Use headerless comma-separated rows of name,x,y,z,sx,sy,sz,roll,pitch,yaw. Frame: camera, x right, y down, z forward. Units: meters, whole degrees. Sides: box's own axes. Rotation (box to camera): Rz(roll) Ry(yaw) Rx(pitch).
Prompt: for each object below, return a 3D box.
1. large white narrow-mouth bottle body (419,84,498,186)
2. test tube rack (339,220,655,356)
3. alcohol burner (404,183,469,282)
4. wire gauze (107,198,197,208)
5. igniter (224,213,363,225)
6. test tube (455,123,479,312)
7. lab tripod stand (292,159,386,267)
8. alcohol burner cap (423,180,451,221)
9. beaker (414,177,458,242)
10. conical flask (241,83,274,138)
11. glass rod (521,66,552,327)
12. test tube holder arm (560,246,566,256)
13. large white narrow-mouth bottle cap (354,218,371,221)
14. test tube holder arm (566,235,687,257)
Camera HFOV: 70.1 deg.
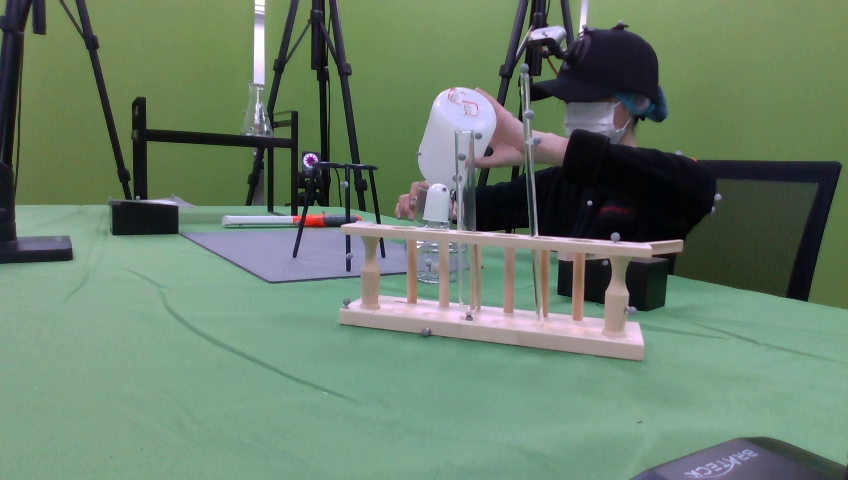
large white narrow-mouth bottle body,0.045,-0.145,0.959,0.102,0.101,0.194,0,-32,-14
test tube rack,0.056,0.032,0.495,0.242,0.085,0.067,4,7,15
alcohol burner,0.015,-0.011,0.715,0.078,0.119,0.078,0,7,0
wire gauze,-0.462,-0.064,1.023,0.126,0.011,0.121,-2,7,-32
igniter,-0.255,-0.041,1.210,0.278,0.025,0.057,-2,-2,-31
test tube,0.034,-0.016,0.476,0.017,0.150,0.017,-2,10,1
lab tripod stand,-0.105,-0.039,0.798,0.148,0.131,0.148,2,5,0
alcohol burner cap,0.017,-0.047,0.711,0.034,0.048,0.034,8,5,0
beaker,0.020,-0.052,1.059,0.074,0.100,0.083,-11,25,-36
conical flask,-0.384,-0.297,1.393,0.075,0.122,0.075,2,7,0
glass rod,0.085,-0.028,0.454,0.008,0.199,0.008,-7,10,2
test tube holder arm,0.173,0.007,0.611,0.088,0.015,0.010,-3,9,-30
large white narrow-mouth bottle cap,-0.120,-0.029,1.184,0.038,0.024,0.037,2,8,0
test tube holder arm,0.215,0.006,0.630,0.179,0.015,0.013,-3,9,-30
